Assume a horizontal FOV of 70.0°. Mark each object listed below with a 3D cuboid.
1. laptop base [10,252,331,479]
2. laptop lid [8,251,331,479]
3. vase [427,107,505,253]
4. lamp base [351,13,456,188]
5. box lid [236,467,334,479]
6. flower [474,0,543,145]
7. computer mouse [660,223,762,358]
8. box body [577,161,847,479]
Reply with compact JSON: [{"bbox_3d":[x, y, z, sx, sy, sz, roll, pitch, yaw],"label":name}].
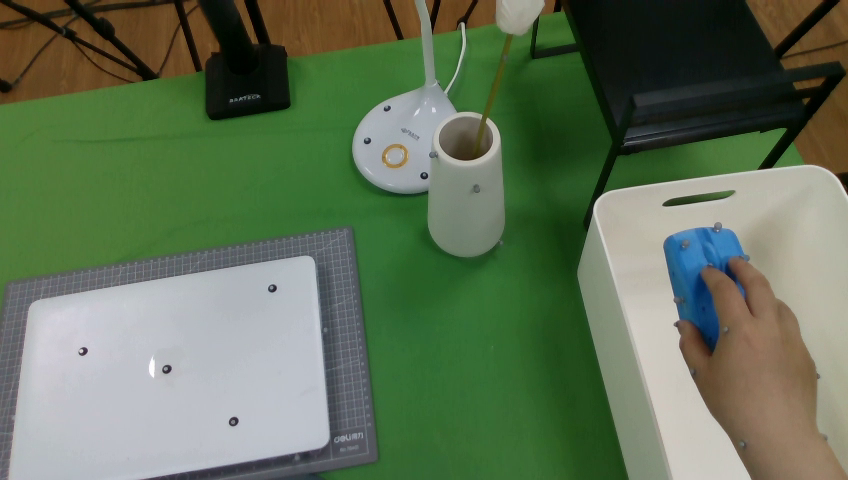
[{"bbox_3d":[-0.292,0.147,0.711,0.354,0.023,0.233,-10,67,-2],"label":"laptop base"},{"bbox_3d":[-0.292,0.144,0.699,0.357,0.013,0.239,-8,66,-1],"label":"laptop lid"},{"bbox_3d":[0.047,-0.064,0.699,0.098,0.201,0.097,-2,62,4],"label":"vase"},{"bbox_3d":[-0.020,-0.185,0.773,0.160,0.182,0.178,21,64,13],"label":"lamp base"},{"bbox_3d":[-0.259,0.387,0.598,0.372,0.015,0.261,-10,64,-2],"label":"box lid"},{"bbox_3d":[0.057,-0.112,0.630,0.038,0.364,0.043,-14,53,-23],"label":"flower"},{"bbox_3d":[0.242,0.040,0.512,0.063,0.041,0.116,-6,72,3],"label":"computer mouse"},{"bbox_3d":[0.320,0.124,0.614,0.254,0.161,0.360,-8,63,-1],"label":"box body"}]
